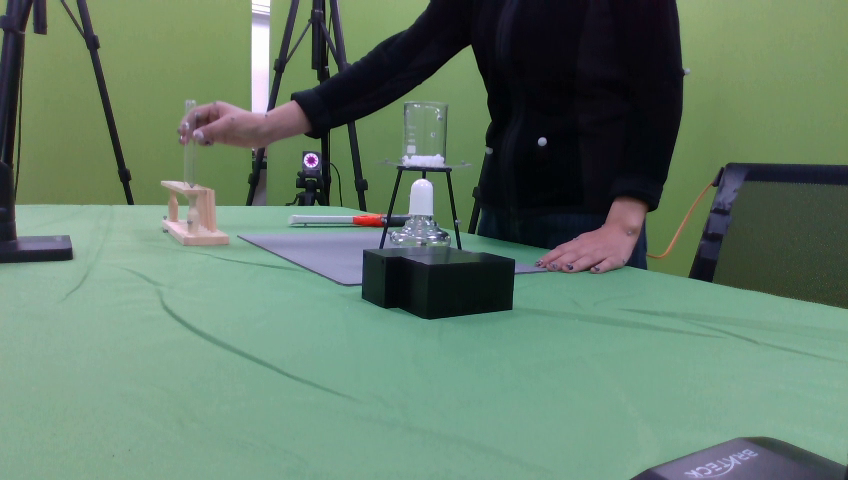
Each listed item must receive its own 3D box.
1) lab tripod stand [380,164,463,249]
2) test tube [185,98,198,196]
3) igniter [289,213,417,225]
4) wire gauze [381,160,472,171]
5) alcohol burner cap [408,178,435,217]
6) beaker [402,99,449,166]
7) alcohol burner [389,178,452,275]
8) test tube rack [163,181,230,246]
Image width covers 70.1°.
[{"bbox_3d":[-0.003,-0.055,0.966,0.148,0.131,0.148,2,9,0],"label":"lab tripod stand"},{"bbox_3d":[-0.359,-0.142,0.933,0.017,0.150,0.017,4,7,0],"label":"test tube"},{"bbox_3d":[-0.144,-0.044,1.275,0.278,0.025,0.057,-1,-2,-27],"label":"igniter"},{"bbox_3d":[-0.004,-0.120,0.959,0.122,0.011,0.124,-5,13,-33],"label":"wire gauze"},{"bbox_3d":[-0.003,-0.053,0.746,0.034,0.048,0.034,2,3,0],"label":"alcohol burner cap"},{"bbox_3d":[0.003,-0.168,0.957,0.073,0.100,0.084,9,11,35],"label":"beaker"},{"bbox_3d":[-0.004,-0.017,0.748,0.078,0.119,0.078,1,9,0],"label":"alcohol burner"},{"bbox_3d":[-0.387,-0.050,1.015,0.067,0.085,0.241,-2,9,-30],"label":"test tube rack"}]
